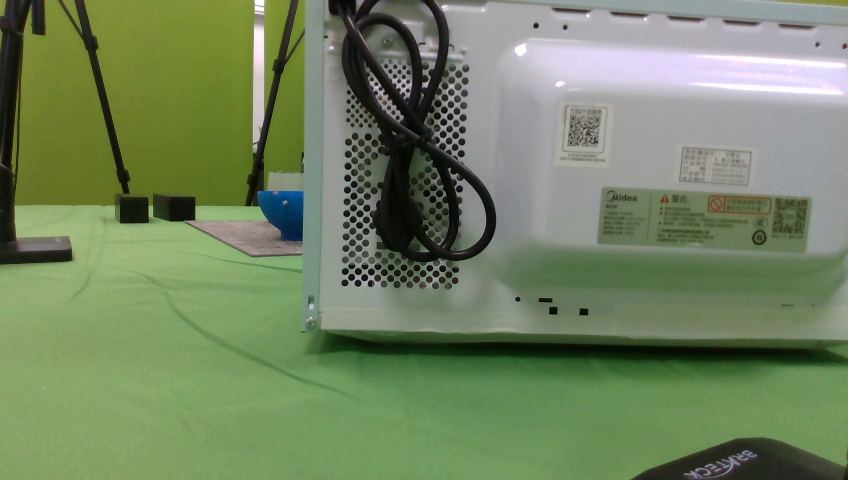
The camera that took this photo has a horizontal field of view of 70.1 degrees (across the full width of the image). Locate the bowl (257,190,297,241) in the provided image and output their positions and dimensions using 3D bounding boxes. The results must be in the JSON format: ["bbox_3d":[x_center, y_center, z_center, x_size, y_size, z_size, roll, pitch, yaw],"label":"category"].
[{"bbox_3d":[-0.207,-0.041,1.027,0.151,0.077,0.151,3,8,0],"label":"bowl"}]

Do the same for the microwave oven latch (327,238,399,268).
[{"bbox_3d":[-0.069,0.015,0.694,0.079,0.029,0.030,3,7,-3],"label":"microwave oven latch"}]

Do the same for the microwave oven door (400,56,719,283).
[{"bbox_3d":[0.155,-0.077,0.697,0.356,0.243,0.039,2,8,-5],"label":"microwave oven door"}]

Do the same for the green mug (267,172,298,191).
[{"bbox_3d":[-0.277,-0.090,1.276,0.092,0.105,0.126,6,8,25],"label":"green mug"}]

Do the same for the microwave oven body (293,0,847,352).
[{"bbox_3d":[0.122,-0.055,0.550,0.442,0.260,0.325,3,7,-5],"label":"microwave oven body"}]
